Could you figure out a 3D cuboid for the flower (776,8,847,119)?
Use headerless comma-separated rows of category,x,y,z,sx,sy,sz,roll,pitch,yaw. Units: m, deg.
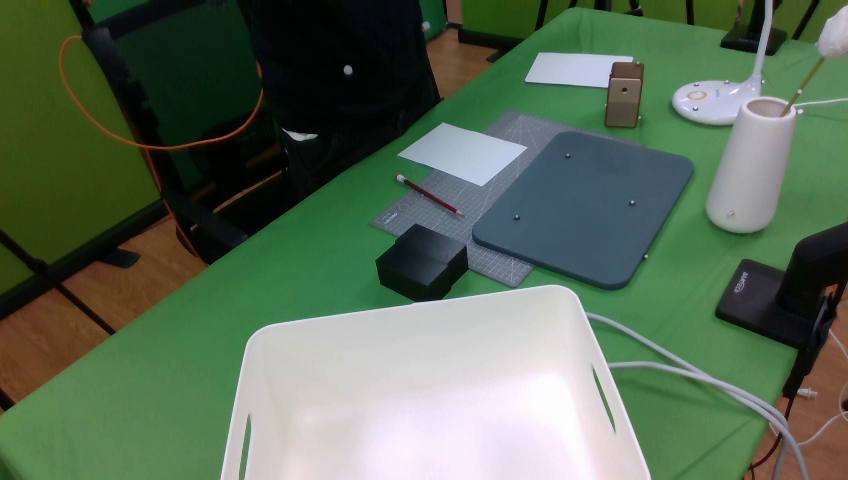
flower,0.476,-0.156,0.822,0.038,0.362,0.044,9,58,2

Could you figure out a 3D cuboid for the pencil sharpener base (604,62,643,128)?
pencil sharpener base,0.391,-0.284,1.182,0.061,0.107,0.076,7,42,17

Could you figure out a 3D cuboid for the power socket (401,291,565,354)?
power socket,0.080,0.111,0.823,0.227,0.033,0.072,-5,41,1

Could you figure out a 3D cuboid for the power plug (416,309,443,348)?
power plug,0.005,0.121,0.786,0.035,0.053,0.072,3,46,8

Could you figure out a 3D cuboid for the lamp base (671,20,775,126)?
lamp base,0.581,-0.332,1.153,0.179,0.181,0.160,2,41,7

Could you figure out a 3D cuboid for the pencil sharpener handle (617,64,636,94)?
pencil sharpener handle,0.401,-0.326,1.211,0.036,0.068,0.030,16,44,8

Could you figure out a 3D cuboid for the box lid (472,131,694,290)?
box lid,0.273,-0.068,1.020,0.261,0.015,0.372,20,47,28

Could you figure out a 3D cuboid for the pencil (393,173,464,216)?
pencil,0.006,-0.081,1.071,0.012,0.012,0.192,-32,44,-26

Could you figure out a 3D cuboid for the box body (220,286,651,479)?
box body,0.006,0.210,0.618,0.364,0.161,0.252,-8,40,-1

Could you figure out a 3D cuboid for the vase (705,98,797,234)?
vase,0.480,-0.104,0.888,0.098,0.201,0.097,-4,42,4
